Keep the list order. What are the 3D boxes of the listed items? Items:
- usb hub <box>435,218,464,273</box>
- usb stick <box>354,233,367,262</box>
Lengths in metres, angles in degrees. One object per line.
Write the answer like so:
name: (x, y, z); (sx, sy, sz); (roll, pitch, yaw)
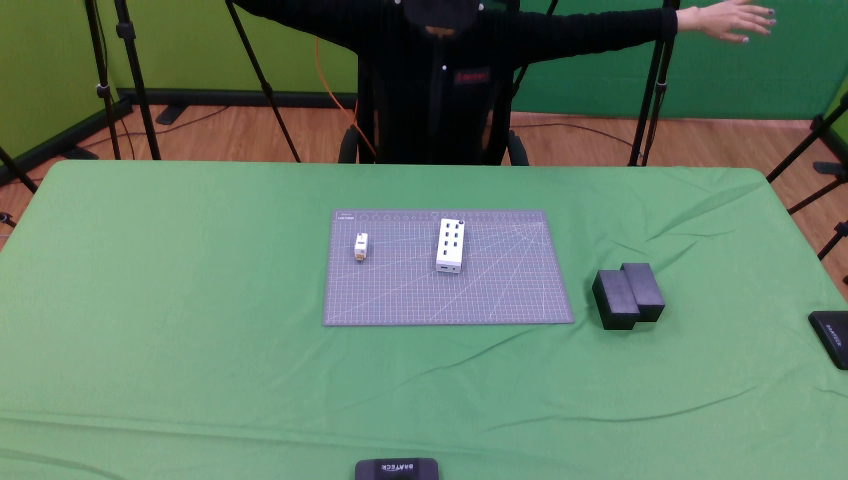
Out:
usb hub: (0.052, 0.009, 1.188); (0.049, 0.025, 0.124); (7, 46, 2)
usb stick: (-0.123, 0.015, 1.168); (0.021, 0.027, 0.059); (5, 49, -1)
